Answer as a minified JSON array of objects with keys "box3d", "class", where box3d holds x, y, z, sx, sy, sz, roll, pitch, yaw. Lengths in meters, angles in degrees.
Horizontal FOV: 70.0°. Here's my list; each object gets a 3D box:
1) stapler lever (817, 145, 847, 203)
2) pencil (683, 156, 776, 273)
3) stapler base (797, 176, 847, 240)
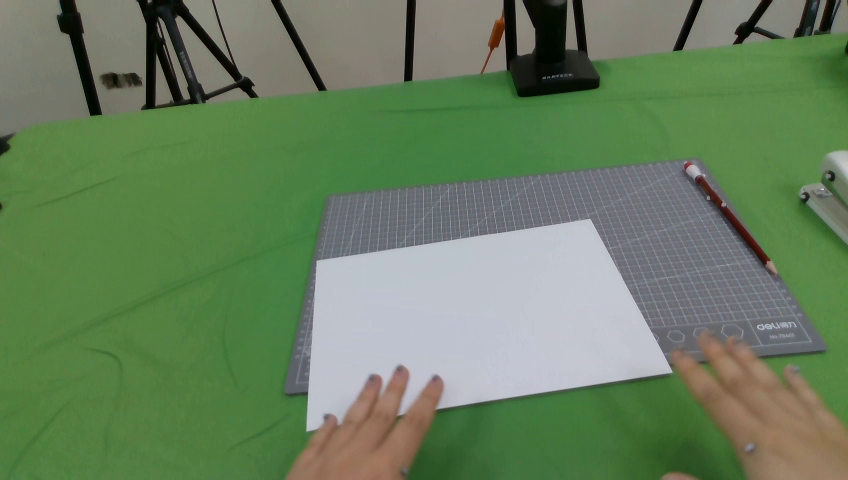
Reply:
[{"box3d":[0.420,-0.048,0.580,0.027,0.040,0.117,-10,42,1],"class":"stapler lever"},{"box3d":[0.311,-0.032,0.625,0.012,0.012,0.192,-8,41,0],"class":"pencil"},{"box3d":[0.423,-0.030,0.598,0.041,0.025,0.129,-10,41,1],"class":"stapler base"}]
